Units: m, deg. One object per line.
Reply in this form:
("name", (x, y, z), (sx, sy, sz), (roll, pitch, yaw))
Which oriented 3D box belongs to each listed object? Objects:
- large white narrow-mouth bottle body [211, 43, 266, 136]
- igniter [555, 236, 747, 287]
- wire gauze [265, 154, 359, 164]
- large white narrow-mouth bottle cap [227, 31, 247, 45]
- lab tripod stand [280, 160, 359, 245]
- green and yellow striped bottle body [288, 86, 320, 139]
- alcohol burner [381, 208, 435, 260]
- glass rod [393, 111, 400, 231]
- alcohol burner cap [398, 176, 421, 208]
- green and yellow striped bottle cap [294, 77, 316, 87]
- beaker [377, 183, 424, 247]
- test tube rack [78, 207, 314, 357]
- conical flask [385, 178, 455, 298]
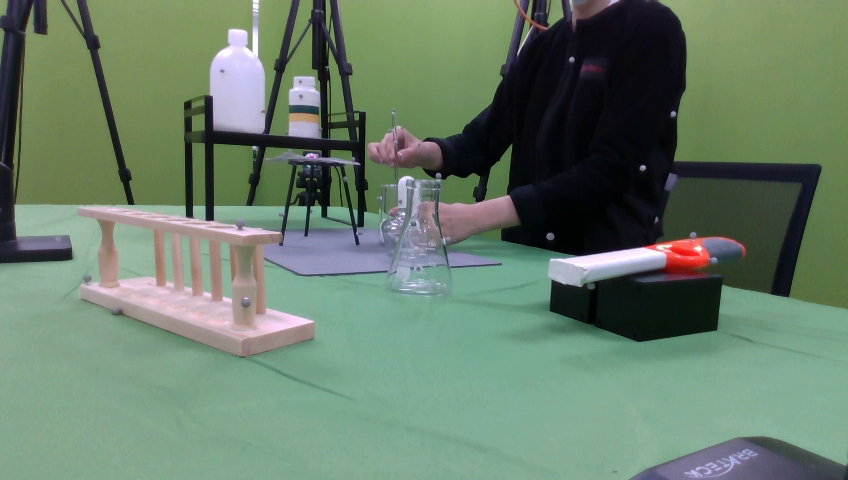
("large white narrow-mouth bottle body", (-0.361, -0.302, 1.176), (0.102, 0.194, 0.102), (1, 7, 0))
("igniter", (0.221, 0.017, 0.558), (0.278, 0.025, 0.057), (-5, 15, -39))
("wire gauze", (-0.181, -0.129, 0.969), (0.126, 0.011, 0.121), (-1, 7, -27))
("large white narrow-mouth bottle cap", (-0.361, -0.388, 1.166), (0.038, 0.024, 0.037), (1, 7, 0))
("lab tripod stand", (-0.176, -0.062, 0.973), (0.148, 0.131, 0.148), (1, 7, 0))
("green and yellow striped bottle body", (-0.249, -0.272, 1.259), (0.063, 0.119, 0.063), (2, 8, 0))
("alcohol burner", (-0.023, -0.032, 0.871), (0.078, 0.119, 0.078), (1, 6, 0))
("glass rod", (-0.046, -0.112, 1.001), (0.008, 0.199, 0.008), (-1, 15, 1))
("alcohol burner cap", (-0.023, -0.068, 0.866), (0.034, 0.048, 0.034), (-5, 8, 1))
("green and yellow striped bottle cap", (-0.247, -0.326, 1.251), (0.045, 0.020, 0.045), (-1, 10, 0))
("beaker", (-0.037, -0.041, 0.994), (0.074, 0.100, 0.083), (-5, 11, -44))
("test tube rack", (-0.196, 0.023, 0.500), (0.241, 0.085, 0.067), (8, 8, 37))
("conical flask", (-0.002, -0.004, 0.639), (0.075, 0.122, 0.075), (2, 7, 0))
